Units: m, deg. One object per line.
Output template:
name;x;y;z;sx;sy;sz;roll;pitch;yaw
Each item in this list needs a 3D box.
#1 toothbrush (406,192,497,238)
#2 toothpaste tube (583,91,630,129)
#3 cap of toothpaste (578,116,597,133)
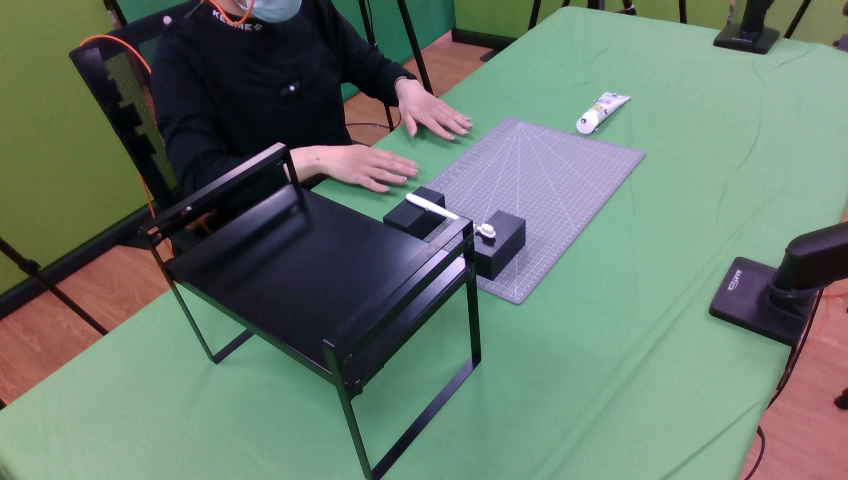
toothbrush;0.038;-0.043;0.937;0.180;0.017;0.014;26;64;35
toothpaste tube;0.364;-0.266;1.223;0.054;0.034;0.165;25;46;24
cap of toothpaste;0.316;-0.225;1.172;0.037;0.037;0.011;15;45;24
